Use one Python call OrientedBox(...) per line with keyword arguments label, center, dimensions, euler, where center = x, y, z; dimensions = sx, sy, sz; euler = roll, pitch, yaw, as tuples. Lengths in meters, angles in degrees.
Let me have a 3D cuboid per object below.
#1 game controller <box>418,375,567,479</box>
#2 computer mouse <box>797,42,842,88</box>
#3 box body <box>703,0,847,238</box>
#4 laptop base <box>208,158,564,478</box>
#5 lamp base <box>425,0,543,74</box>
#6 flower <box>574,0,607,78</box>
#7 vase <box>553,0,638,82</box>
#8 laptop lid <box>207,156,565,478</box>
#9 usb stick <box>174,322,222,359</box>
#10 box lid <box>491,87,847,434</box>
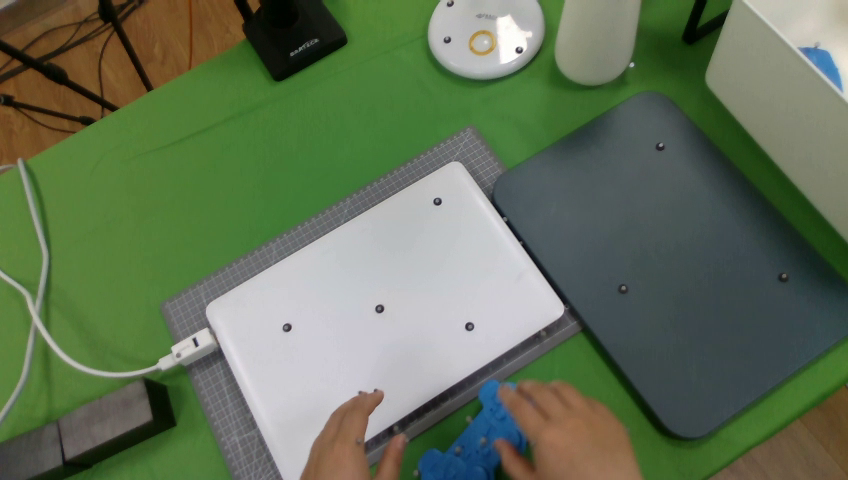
OrientedBox(label="game controller", center=(0.066, 0.211, 0.618), dimensions=(0.096, 0.052, 0.155), euler=(40, 77, 24))
OrientedBox(label="computer mouse", center=(0.463, -0.194, 0.732), dimensions=(0.062, 0.041, 0.116), euler=(3, 64, 11))
OrientedBox(label="box body", center=(0.520, -0.161, 0.652), dimensions=(0.254, 0.161, 0.361), euler=(-29, 68, -5))
OrientedBox(label="laptop base", center=(-0.048, 0.076, 0.699), dimensions=(0.354, 0.023, 0.234), euler=(-31, 72, -6))
OrientedBox(label="lamp base", center=(0.074, -0.335, 0.763), dimensions=(0.160, 0.182, 0.178), euler=(0, 65, 7))
OrientedBox(label="flower", center=(0.213, -0.320, 0.642), dimensions=(0.038, 0.364, 0.043), euler=(-16, 57, -17))
OrientedBox(label="vase", center=(0.205, -0.279, 0.715), dimensions=(0.098, 0.201, 0.097), euler=(-3, 67, 8))
OrientedBox(label="laptop lid", center=(-0.048, 0.074, 0.688), dimensions=(0.357, 0.013, 0.240), euler=(-30, 70, -5))
OrientedBox(label="usb stick", center=(-0.252, 0.112, 0.694), dimensions=(0.059, 0.027, 0.021), euler=(-27, 67, -11))
OrientedBox(label="box lid", center=(0.275, 0.000, 0.696), dimensions=(0.263, 0.015, 0.368), euler=(-31, 68, -7))
